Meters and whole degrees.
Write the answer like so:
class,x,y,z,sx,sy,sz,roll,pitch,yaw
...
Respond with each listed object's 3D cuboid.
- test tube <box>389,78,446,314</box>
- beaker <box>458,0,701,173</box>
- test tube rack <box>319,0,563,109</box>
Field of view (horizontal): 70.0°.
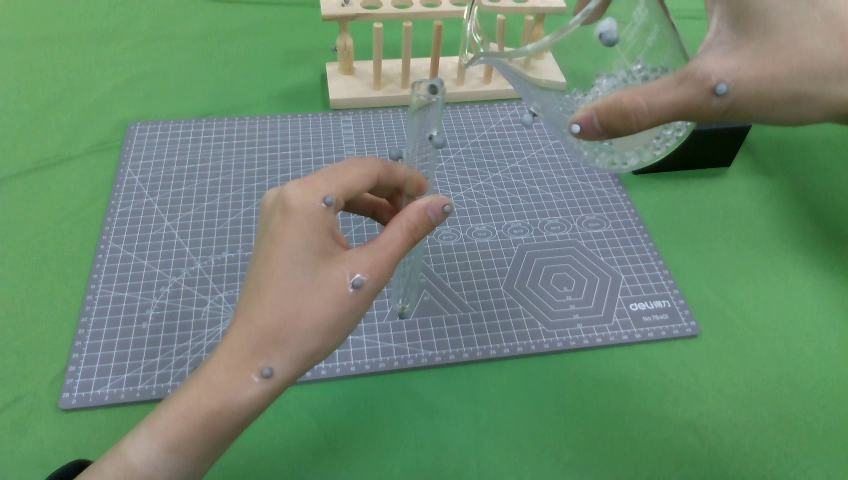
class,x,y,z,sx,sy,sz,roll,pitch,yaw
test tube,-0.006,-0.013,0.311,0.017,0.151,0.017,5,44,-4
beaker,0.073,-0.081,0.273,0.084,0.101,0.073,-39,44,18
test tube rack,0.019,-0.196,0.621,0.243,0.086,0.066,-5,49,-8
